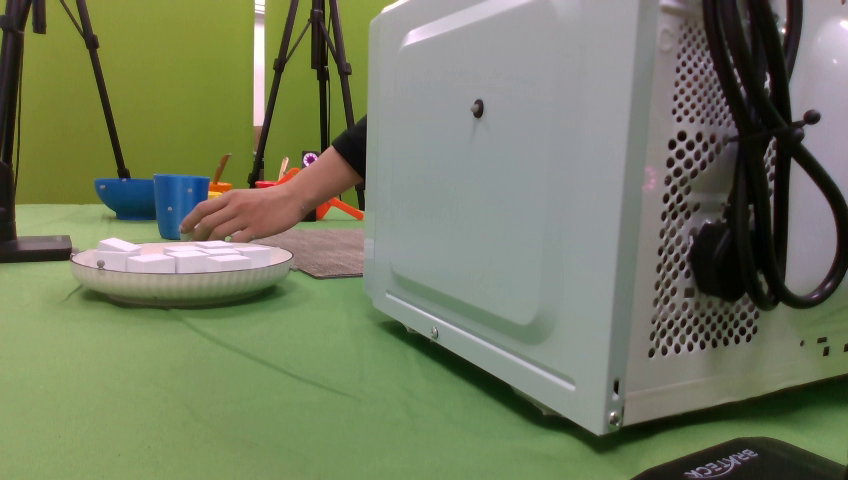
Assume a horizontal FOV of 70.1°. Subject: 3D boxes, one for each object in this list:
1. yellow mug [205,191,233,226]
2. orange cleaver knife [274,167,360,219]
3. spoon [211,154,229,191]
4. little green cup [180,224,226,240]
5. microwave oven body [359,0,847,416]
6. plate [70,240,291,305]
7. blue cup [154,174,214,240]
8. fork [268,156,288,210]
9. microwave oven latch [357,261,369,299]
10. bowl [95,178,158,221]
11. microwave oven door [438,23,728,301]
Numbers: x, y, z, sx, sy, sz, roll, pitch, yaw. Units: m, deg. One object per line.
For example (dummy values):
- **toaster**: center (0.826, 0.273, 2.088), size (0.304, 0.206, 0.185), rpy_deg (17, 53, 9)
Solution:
- **yellow mug**: center (-0.415, -0.057, 1.132), size (0.130, 0.064, 0.100), rpy_deg (6, 8, 16)
- **orange cleaver knife**: center (-0.238, -0.090, 1.381), size (0.212, 0.077, 0.012), rpy_deg (31, 0, -19)
- **spoon**: center (-0.431, -0.115, 1.253), size (0.042, 0.193, 0.021), rpy_deg (-3, 54, -33)
- **little green cup**: center (-0.308, -0.001, 0.847), size (0.061, 0.038, 0.061), rpy_deg (3, 9, 0)
- **microwave oven body**: center (0.211, -0.047, 0.474), size (0.444, 0.260, 0.324), rpy_deg (-1, 7, -28)
- **plate**: center (-0.242, 0.031, 0.618), size (0.208, 0.039, 0.207), rpy_deg (2, 8, 0)
- **blue cup**: center (-0.391, -0.053, 0.978), size (0.093, 0.100, 0.092), rpy_deg (3, 6, 0)
- **fork**: center (-0.360, -0.144, 1.508), size (0.028, 0.018, 0.207), rpy_deg (1, 49, 0)
- **microwave oven latch**: center (-0.019, 0.034, 0.530), size (0.079, 0.029, 0.030), rpy_deg (0, 7, -25)
- **bowl**: center (-0.576, -0.081, 1.217), size (0.151, 0.077, 0.151), rpy_deg (3, 8, 0)
- **microwave oven door**: center (0.181, -0.072, 0.620), size (0.358, 0.243, 0.039), rpy_deg (-2, 8, -29)
